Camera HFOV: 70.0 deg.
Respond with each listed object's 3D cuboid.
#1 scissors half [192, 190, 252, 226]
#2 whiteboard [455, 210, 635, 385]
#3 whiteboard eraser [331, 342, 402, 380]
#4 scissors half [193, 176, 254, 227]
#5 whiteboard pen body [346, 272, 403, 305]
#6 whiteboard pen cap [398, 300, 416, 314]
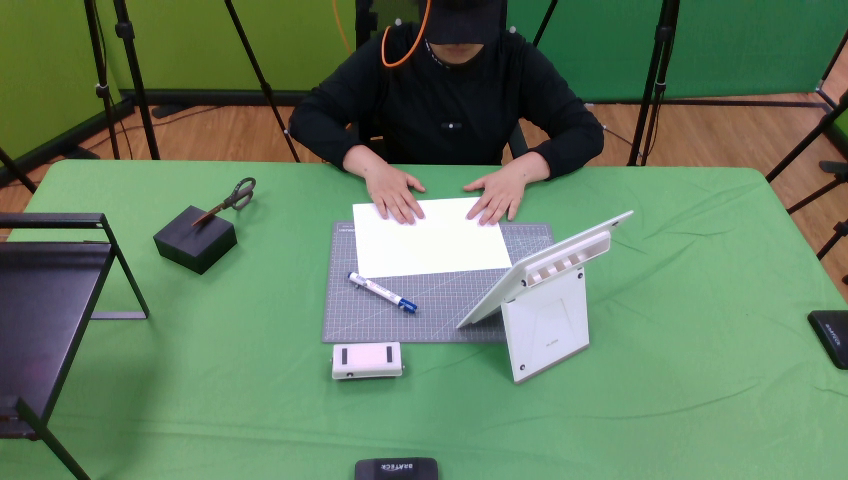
[{"bbox_3d":[-0.393,-0.060,1.187,0.013,0.040,0.175,24,29,12],"label":"scissors half"},{"bbox_3d":[0.211,0.111,0.955,0.217,0.306,0.143,-21,72,-23],"label":"whiteboard"},{"bbox_3d":[-0.094,0.198,0.986,0.113,0.042,0.055,-2,44,-6],"label":"whiteboard eraser"},{"bbox_3d":[-0.388,-0.075,1.174,0.013,0.040,0.174,28,47,9],"label":"scissors half"},{"bbox_3d":[-0.081,0.092,1.098,0.140,0.017,0.017,26,50,17],"label":"whiteboard pen body"},{"bbox_3d":[-0.031,0.118,1.081,0.033,0.018,0.018,24,49,20],"label":"whiteboard pen cap"}]
